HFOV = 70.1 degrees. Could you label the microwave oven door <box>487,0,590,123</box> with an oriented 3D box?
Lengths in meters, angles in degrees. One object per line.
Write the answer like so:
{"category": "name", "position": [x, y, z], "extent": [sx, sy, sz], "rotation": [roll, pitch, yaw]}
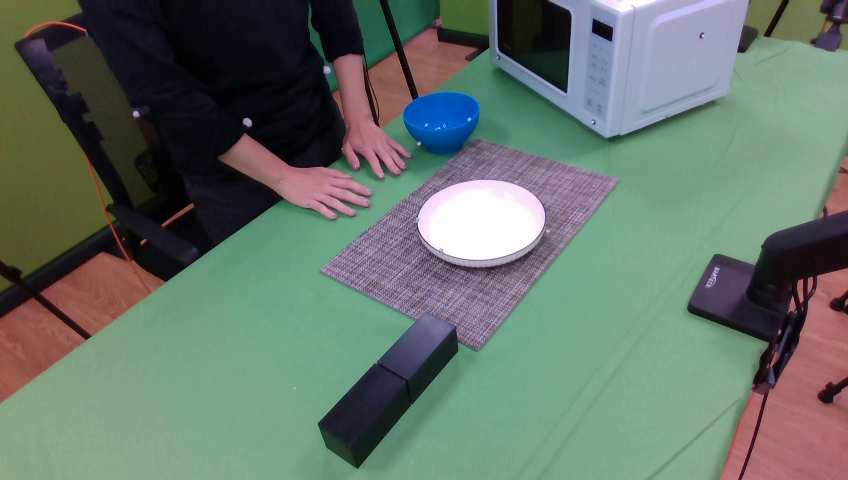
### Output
{"category": "microwave oven door", "position": [0.232, -0.420, 1.231], "extent": [0.039, 0.245, 0.352], "rotation": [-22, 43, -16]}

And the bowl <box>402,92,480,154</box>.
{"category": "bowl", "position": [0.036, -0.220, 1.180], "extent": [0.151, 0.077, 0.150], "rotation": [-4, 40, 4]}

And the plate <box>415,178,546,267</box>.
{"category": "plate", "position": [0.091, -0.026, 0.970], "extent": [0.207, 0.039, 0.206], "rotation": [-4, 41, 4]}

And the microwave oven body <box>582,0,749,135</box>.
{"category": "microwave oven body", "position": [0.382, -0.444, 1.246], "extent": [0.327, 0.261, 0.437], "rotation": [-22, 42, -16]}

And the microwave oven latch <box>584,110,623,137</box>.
{"category": "microwave oven latch", "position": [0.337, -0.222, 1.142], "extent": [0.030, 0.029, 0.078], "rotation": [-21, 42, -14]}
